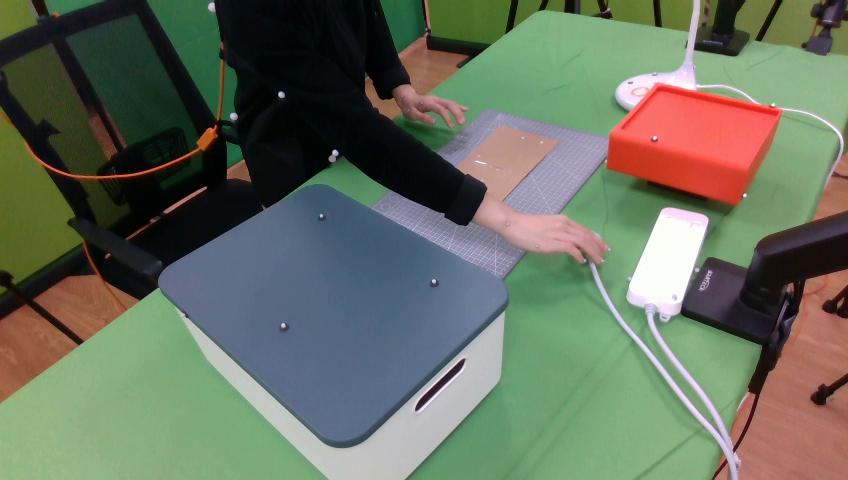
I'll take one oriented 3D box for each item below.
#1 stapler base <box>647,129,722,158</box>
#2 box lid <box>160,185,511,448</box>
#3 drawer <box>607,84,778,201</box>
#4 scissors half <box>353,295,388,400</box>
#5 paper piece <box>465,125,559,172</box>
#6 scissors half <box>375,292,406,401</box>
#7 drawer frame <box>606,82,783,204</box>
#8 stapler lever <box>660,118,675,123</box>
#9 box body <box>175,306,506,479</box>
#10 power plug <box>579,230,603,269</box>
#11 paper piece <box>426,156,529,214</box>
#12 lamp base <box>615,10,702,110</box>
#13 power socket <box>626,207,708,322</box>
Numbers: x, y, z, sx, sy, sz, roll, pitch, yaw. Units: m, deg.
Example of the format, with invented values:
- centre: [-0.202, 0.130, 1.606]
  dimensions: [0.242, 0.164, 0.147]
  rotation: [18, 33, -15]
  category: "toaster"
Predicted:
- centre: [0.439, -0.167, 1.023]
  dimensions: [0.131, 0.024, 0.041]
  rotation: [-17, 25, -15]
  category: "stapler base"
- centre: [-0.114, 0.054, 0.705]
  dimensions: [0.368, 0.015, 0.264]
  rotation: [28, 51, 34]
  category: "box lid"
- centre: [0.438, -0.167, 0.995]
  dimensions: [0.210, 0.073, 0.195]
  rotation: [23, 48, 30]
  category: "drawer"
- centre: [-0.068, 0.142, 0.818]
  dimensions: [0.040, 0.013, 0.174]
  rotation: [-20, 44, -1]
  category: "scissors half"
- centre: [0.172, -0.177, 1.167]
  dimensions: [0.137, 0.009, 0.136]
  rotation: [21, 44, 30]
  category: "paper piece"
- centre: [-0.048, 0.139, 0.817]
  dimensions: [0.040, 0.013, 0.174]
  rotation: [-4, 45, 8]
  category: "scissors half"
- centre: [0.441, -0.167, 0.995]
  dimensions: [0.212, 0.083, 0.202]
  rotation: [23, 48, 30]
  category: "drawer frame"
- centre: [0.436, -0.192, 1.014]
  dimensions: [0.118, 0.040, 0.026]
  rotation: [-15, 24, -16]
  category: "stapler lever"
- centre: [-0.105, 0.111, 0.751]
  dimensions: [0.361, 0.161, 0.255]
  rotation: [28, 52, 35]
  category: "box body"
- centre: [0.245, 0.018, 0.908]
  dimensions: [0.035, 0.053, 0.072]
  rotation: [17, 65, 20]
  category: "power plug"
- centre: [0.096, -0.103, 1.089]
  dimensions: [0.134, 0.004, 0.136]
  rotation: [23, 48, 31]
  category: "paper piece"
- centre: [0.484, -0.364, 1.211]
  dimensions: [0.180, 0.181, 0.159]
  rotation: [-15, 41, -14]
  category: "lamp base"
- centre: [0.360, 0.026, 0.886]
  dimensions: [0.072, 0.033, 0.227]
  rotation: [16, 46, 26]
  category: "power socket"
